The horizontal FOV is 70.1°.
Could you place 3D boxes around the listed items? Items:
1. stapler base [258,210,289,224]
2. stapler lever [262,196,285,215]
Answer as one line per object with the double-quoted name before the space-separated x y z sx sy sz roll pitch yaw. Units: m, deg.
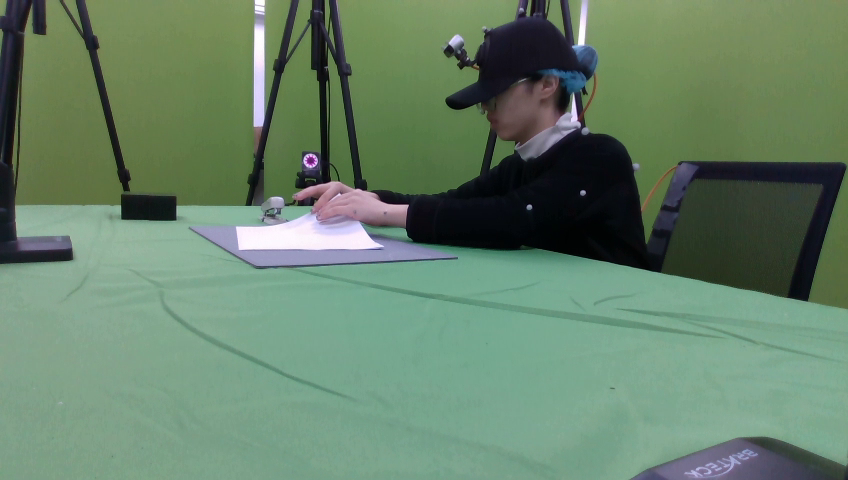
"stapler base" -0.323 -0.052 1.295 0.041 0.024 0.130 1 5 -27
"stapler lever" -0.323 -0.076 1.293 0.027 0.040 0.117 1 6 -27
